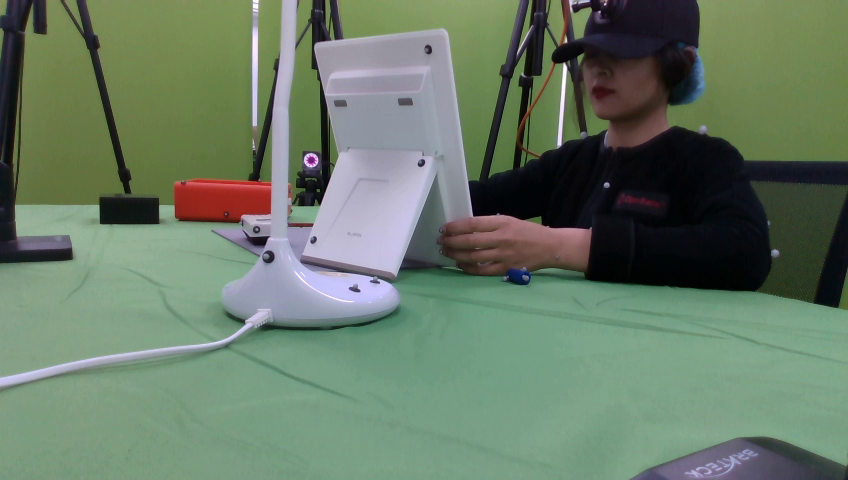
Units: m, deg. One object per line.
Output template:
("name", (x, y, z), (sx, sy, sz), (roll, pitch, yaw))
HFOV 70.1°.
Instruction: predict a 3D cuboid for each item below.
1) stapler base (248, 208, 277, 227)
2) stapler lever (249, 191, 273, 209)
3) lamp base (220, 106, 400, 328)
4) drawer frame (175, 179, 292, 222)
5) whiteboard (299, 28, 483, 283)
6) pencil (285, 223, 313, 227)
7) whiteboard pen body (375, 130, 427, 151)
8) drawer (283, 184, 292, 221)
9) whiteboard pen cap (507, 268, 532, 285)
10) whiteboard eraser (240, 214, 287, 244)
("stapler base", (-0.350, -0.054, 1.310), (0.041, 0.024, 0.130), (0, 13, -3))
("stapler lever", (-0.351, -0.086, 1.305), (0.027, 0.040, 0.118), (0, 5, -3))
("lamp base", (-0.102, -0.023, 0.531), (0.160, 0.180, 0.179), (4, 10, 10))
("drawer frame", (-0.402, -0.087, 1.311), (0.214, 0.082, 0.201), (1, 8, -9))
("whiteboard", (-0.075, -0.082, 0.741), (0.216, 0.305, 0.144), (9, 29, 38))
("pencil", (-0.234, -0.030, 1.198), (0.195, 0.012, 0.012), (0, 8, -20))
("whiteboard pen body", (-0.032, -0.142, 0.858), (0.017, 0.017, 0.141), (6, 4, 26))
("drawer", (-0.397, -0.086, 1.314), (0.212, 0.073, 0.194), (1, 8, -9))
("whiteboard pen cap", (0.113, 0.043, 0.726), (0.018, 0.018, 0.033), (-2, 10, -28))
("whiteboard eraser", (-0.256, -0.017, 0.958), (0.056, 0.042, 0.112), (0, 8, -25))
